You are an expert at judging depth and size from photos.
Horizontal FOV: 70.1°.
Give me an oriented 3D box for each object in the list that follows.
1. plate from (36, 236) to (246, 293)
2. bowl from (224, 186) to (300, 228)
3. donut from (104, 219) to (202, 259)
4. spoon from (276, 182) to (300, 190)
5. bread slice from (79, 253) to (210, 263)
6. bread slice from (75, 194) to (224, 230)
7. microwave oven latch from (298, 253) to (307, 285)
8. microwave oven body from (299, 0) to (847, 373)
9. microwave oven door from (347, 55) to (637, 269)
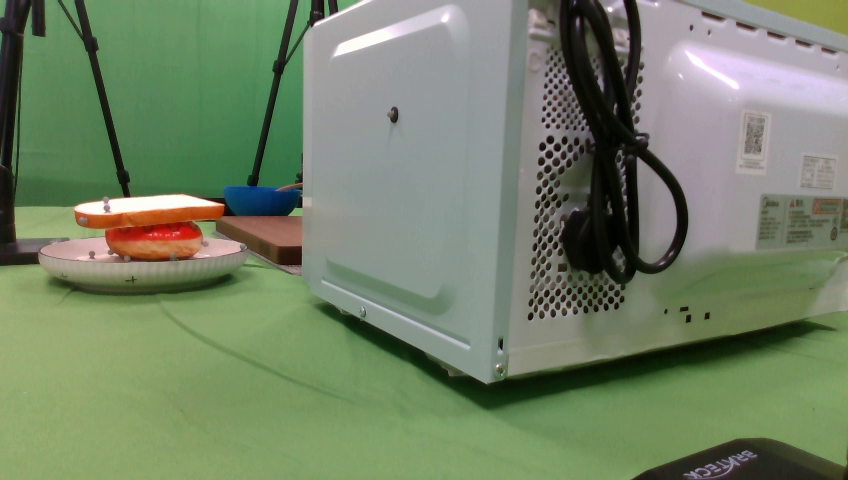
[{"bbox_3d":[-0.305,0.026,0.668,0.208,0.039,0.207,2,7,0],"label":"plate"},{"bbox_3d":[-0.330,-0.068,1.230,0.151,0.077,0.151,3,7,0],"label":"bowl"},{"bbox_3d":[-0.298,-0.003,0.669,0.099,0.048,0.099,3,-1,0],"label":"donut"},{"bbox_3d":[-0.300,-0.102,1.266,0.194,0.021,0.041,-24,9,-24],"label":"spoon"},{"bbox_3d":[-0.302,0.027,0.662,0.132,0.019,0.104,-4,8,-45],"label":"bread slice"},{"bbox_3d":[-0.301,-0.032,0.658,0.106,0.018,0.135,10,17,41],"label":"bread slice"},{"bbox_3d":[-0.081,0.027,0.582,0.079,0.029,0.030,-1,7,-32],"label":"microwave oven latch"},{"bbox_3d":[0.152,-0.055,0.542,0.444,0.260,0.324,-2,7,-33],"label":"microwave oven body"},{"bbox_3d":[0.088,-0.087,0.738,0.357,0.243,0.039,1,8,-14],"label":"microwave oven door"}]
